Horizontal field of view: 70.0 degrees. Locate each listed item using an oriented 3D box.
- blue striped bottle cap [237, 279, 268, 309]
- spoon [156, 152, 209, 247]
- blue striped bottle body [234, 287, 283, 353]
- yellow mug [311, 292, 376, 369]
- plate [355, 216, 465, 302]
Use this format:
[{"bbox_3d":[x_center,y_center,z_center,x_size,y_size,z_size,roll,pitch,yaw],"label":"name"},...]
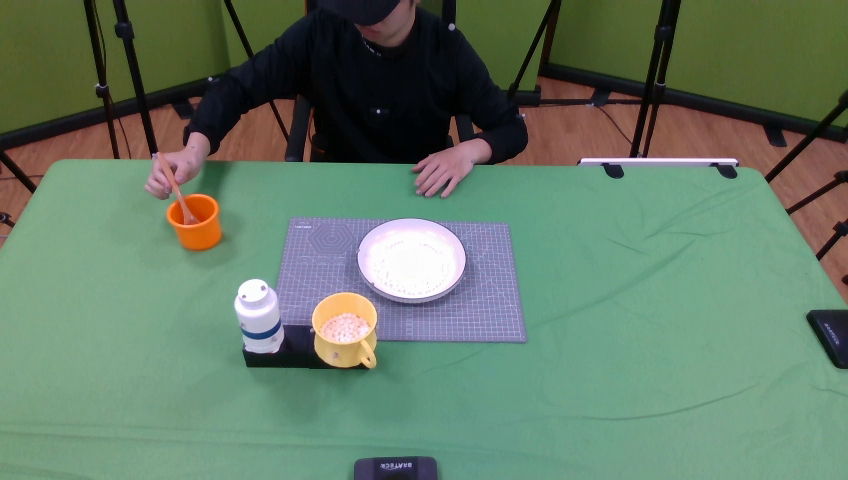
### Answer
[{"bbox_3d":[-0.252,0.079,0.892,0.044,0.021,0.044,4,47,-4],"label":"blue striped bottle cap"},{"bbox_3d":[-0.459,-0.076,1.145,0.041,0.194,0.021,-25,10,-24],"label":"spoon"},{"bbox_3d":[-0.254,0.114,0.929,0.063,0.121,0.062,2,46,-2],"label":"blue striped bottle body"},{"bbox_3d":[-0.115,0.149,0.945,0.100,0.064,0.130,-30,57,-28],"label":"yellow mug"},{"bbox_3d":[-0.027,0.039,1.144,0.208,0.039,0.206,2,46,-2],"label":"plate"}]
